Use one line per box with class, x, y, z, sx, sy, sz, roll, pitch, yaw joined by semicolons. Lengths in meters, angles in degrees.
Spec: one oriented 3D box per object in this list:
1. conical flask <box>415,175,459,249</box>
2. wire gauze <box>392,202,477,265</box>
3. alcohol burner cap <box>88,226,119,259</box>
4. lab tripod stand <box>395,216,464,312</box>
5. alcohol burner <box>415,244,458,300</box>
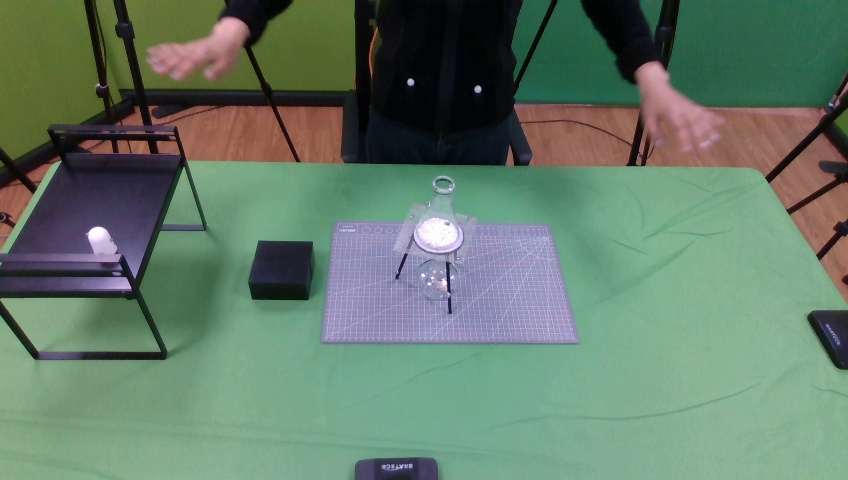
conical flask;0.026;-0.049;0.993;0.075;0.122;0.075;3;47;-3
wire gauze;0.021;-0.011;1.037;0.121;0.011;0.124;13;49;8
alcohol burner cap;-0.476;0.002;0.895;0.034;0.048;0.033;1;46;-1
lab tripod stand;0.023;0.037;1.084;0.148;0.132;0.147;4;47;-4
alcohol burner;0.024;0.051;1.084;0.078;0.119;0.077;3;45;-3
